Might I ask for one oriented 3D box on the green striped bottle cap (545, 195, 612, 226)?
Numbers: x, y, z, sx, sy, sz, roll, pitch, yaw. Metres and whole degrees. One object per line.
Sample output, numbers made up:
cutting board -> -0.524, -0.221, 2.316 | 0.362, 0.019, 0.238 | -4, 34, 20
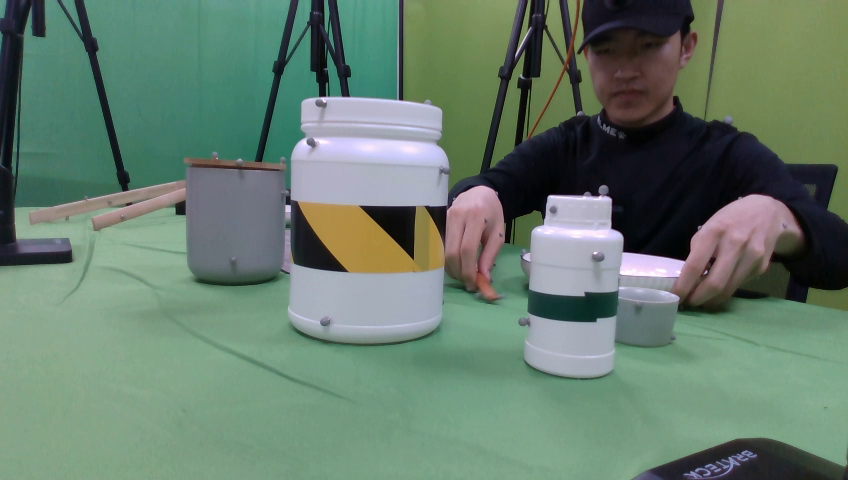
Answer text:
green striped bottle cap -> 0.106, -0.020, 0.414 | 0.044, 0.020, 0.044 | 2, 4, 0

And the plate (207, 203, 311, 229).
plate -> -0.342, -0.050, 1.259 | 0.208, 0.039, 0.207 | 2, 7, 0

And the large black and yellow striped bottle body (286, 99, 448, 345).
large black and yellow striped bottle body -> -0.047, -0.018, 0.501 | 0.131, 0.184, 0.130 | 2, 7, 0

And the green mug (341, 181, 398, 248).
green mug -> -0.090, -0.044, 0.997 | 0.093, 0.105, 0.125 | 1, 7, -8

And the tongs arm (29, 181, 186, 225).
tongs arm -> -0.609, -0.083, 1.245 | 0.050, 0.026, 0.386 | 5, 16, 23

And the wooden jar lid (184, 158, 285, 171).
wooden jar lid -> -0.210, -0.078, 0.674 | 0.108, 0.020, 0.108 | 4, 6, 0

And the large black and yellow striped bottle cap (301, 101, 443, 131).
large black and yellow striped bottle cap -> -0.042, -0.100, 0.491 | 0.115, 0.019, 0.115 | 1, 8, 0

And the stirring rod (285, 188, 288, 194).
stirring rod -> -0.354, -0.122, 1.519 | 0.006, 0.014, 0.176 | 2, 6, 1

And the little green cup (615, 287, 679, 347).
little green cup -> 0.180, 0.064, 0.506 | 0.061, 0.038, 0.061 | 1, 8, 0

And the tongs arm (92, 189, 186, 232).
tongs arm -> -0.534, -0.076, 1.221 | 0.028, 0.028, 0.388 | -2, 15, 12

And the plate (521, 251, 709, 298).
plate -> 0.217, 0.041, 0.705 | 0.209, 0.038, 0.209 | 2, 7, 0

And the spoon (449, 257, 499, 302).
spoon -> 0.059, 0.043, 0.699 | 0.042, 0.021, 0.193 | 2, 6, -6

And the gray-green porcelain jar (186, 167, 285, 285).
gray-green porcelain jar -> -0.212, -0.017, 0.682 | 0.106, 0.126, 0.106 | 2, 7, 0

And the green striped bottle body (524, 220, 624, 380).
green striped bottle body -> 0.104, 0.031, 0.422 | 0.063, 0.119, 0.063 | 2, 7, 0
